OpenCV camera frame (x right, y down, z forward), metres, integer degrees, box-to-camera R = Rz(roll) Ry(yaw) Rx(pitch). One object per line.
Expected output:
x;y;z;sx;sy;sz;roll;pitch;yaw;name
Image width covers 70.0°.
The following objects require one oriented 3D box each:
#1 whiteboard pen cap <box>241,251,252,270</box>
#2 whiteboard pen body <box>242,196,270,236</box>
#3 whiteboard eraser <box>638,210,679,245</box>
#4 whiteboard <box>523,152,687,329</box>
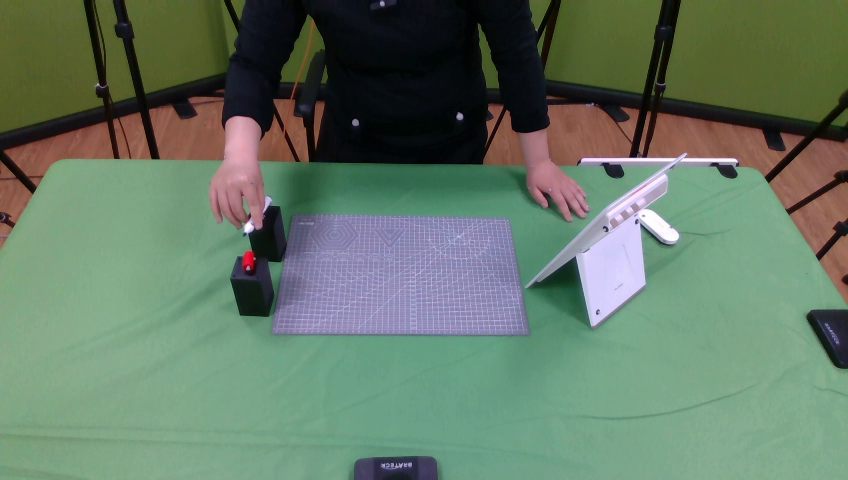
-0.294;0.033;1.005;0.017;0.017;0.032;-3;44;-7;whiteboard pen cap
-0.295;-0.042;1.059;0.017;0.017;0.140;5;30;1;whiteboard pen body
0.485;-0.027;1.260;0.041;0.019;0.100;-21;50;-21;whiteboard eraser
0.346;0.025;1.046;0.217;0.306;0.143;-30;74;-29;whiteboard
